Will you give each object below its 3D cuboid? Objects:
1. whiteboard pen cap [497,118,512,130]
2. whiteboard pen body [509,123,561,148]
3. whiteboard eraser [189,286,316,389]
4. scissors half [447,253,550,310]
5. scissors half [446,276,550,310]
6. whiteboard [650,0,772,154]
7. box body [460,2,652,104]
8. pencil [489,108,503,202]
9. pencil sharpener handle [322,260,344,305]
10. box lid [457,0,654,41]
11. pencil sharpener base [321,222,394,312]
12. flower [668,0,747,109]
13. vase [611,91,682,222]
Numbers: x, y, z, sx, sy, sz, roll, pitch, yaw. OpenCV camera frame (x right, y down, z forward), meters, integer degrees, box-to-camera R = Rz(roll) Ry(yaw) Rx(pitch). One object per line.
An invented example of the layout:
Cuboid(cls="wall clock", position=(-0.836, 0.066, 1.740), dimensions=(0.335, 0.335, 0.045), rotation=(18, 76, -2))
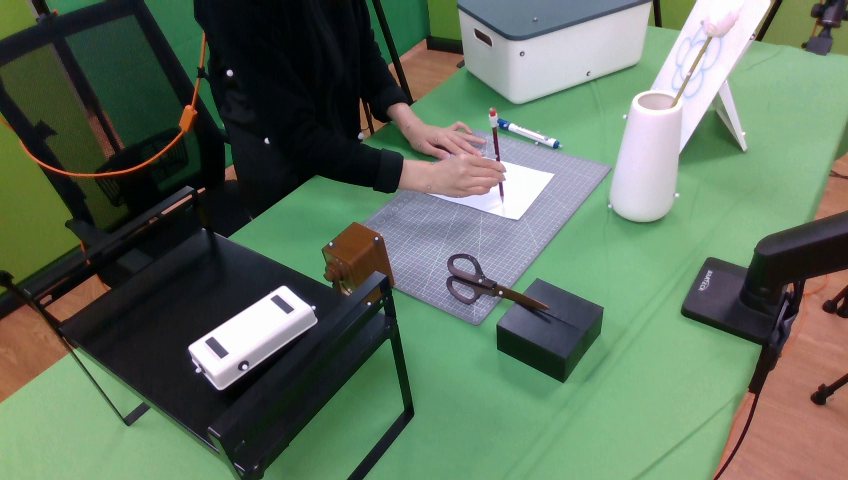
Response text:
Cuboid(cls="whiteboard pen cap", position=(0.165, -0.235, 1.227), dimensions=(0.033, 0.018, 0.018), rotation=(31, 53, 31))
Cuboid(cls="whiteboard pen body", position=(0.208, -0.212, 1.195), dimensions=(0.139, 0.017, 0.017), rotation=(30, 52, 33))
Cuboid(cls="whiteboard eraser", position=(-0.166, 0.096, 0.593), dimensions=(0.113, 0.042, 0.055), rotation=(-36, 47, -29))
Cuboid(cls="scissors half", position=(0.098, 0.058, 0.821), dimensions=(0.173, 0.040, 0.013), rotation=(27, 33, 37))
Cuboid(cls="scissors half", position=(0.098, 0.077, 0.827), dimensions=(0.174, 0.040, 0.013), rotation=(6, 14, 44))
Cuboid(cls="whiteboard", position=(0.543, -0.298, 1.076), dimensions=(0.144, 0.305, 0.216), rotation=(12, 40, -7))
Cuboid(cls="box body", position=(0.291, -0.465, 1.371), dimensions=(0.365, 0.161, 0.252), rotation=(-22, 42, -16))
Cuboid(cls="pencil", position=(0.118, -0.131, 0.972), dimensions=(0.012, 0.195, 0.012), rotation=(-7, 47, 7))
Cuboid(cls="pencil sharpener handle", position=(-0.131, 0.062, 0.839), dimensions=(0.035, 0.068, 0.031), rotation=(29, 56, 27))
Cuboid(cls="box lid", position=(0.285, -0.522, 1.323), dimensions=(0.373, 0.015, 0.261), rotation=(-22, 43, -16))
Cuboid(cls="pencil sharpener base", position=(-0.096, 0.041, 0.873), dimensions=(0.061, 0.107, 0.077), rotation=(25, 54, 32))
Cuboid(cls="flower", position=(0.354, -0.187, 0.879), dimensions=(0.038, 0.362, 0.044), rotation=(30, 48, 14))
Cuboid(cls="vase", position=(0.348, -0.125, 0.935), dimensions=(0.098, 0.201, 0.097), rotation=(-3, 40, 3))
